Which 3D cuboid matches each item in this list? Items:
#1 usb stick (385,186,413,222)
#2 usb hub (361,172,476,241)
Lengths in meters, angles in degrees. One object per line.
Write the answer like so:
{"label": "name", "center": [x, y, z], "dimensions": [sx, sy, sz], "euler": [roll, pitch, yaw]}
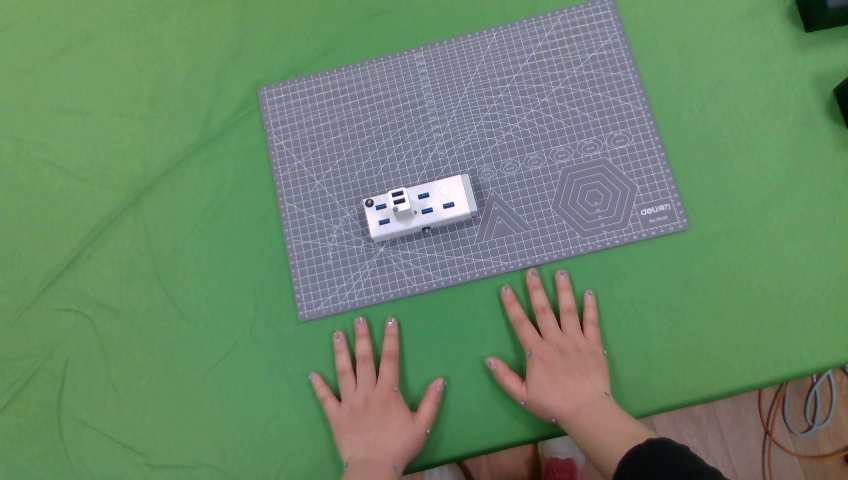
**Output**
{"label": "usb stick", "center": [-0.026, -0.037, 0.664], "dimensions": [0.021, 0.059, 0.027], "euler": [-18, 74, 2]}
{"label": "usb hub", "center": [-0.007, -0.039, 0.692], "dimensions": [0.125, 0.025, 0.049], "euler": [-14, 77, 2]}
